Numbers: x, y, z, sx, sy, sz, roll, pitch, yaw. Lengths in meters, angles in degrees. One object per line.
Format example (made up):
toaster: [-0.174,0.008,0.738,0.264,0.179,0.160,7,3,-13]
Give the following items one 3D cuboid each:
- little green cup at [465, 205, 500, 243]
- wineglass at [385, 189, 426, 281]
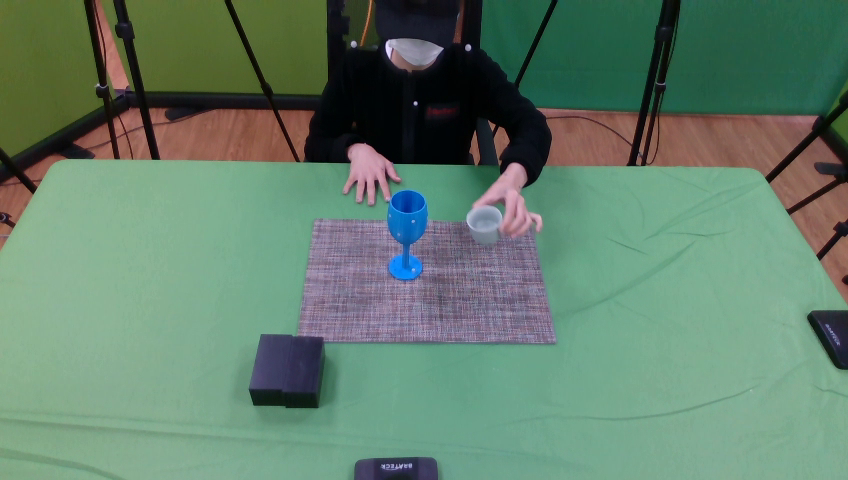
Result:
little green cup: [0.103,-0.026,1.051,0.061,0.039,0.061,-4,62,7]
wineglass: [-0.034,-0.006,1.091,0.074,0.173,0.073,2,46,-2]
